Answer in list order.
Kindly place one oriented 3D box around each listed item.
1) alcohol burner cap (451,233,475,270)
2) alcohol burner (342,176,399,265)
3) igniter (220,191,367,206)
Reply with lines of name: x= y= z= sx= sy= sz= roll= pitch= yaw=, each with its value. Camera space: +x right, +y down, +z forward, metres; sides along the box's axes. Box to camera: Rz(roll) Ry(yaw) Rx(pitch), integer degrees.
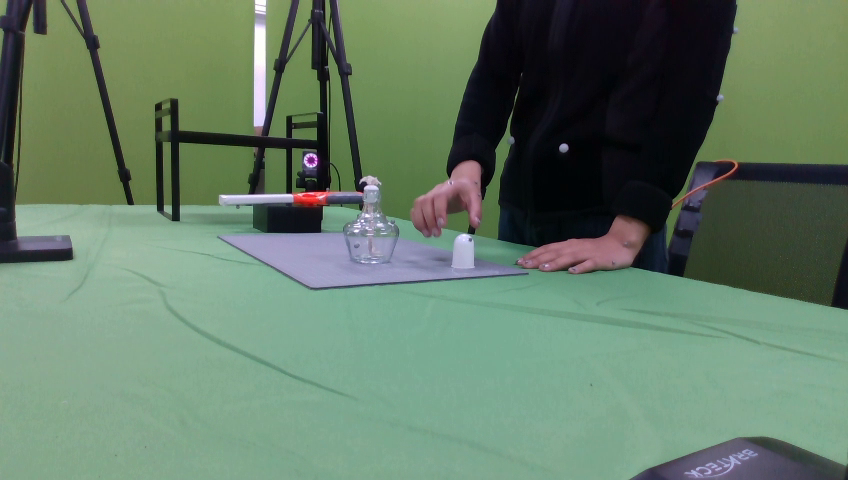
alcohol burner cap: x=0.053 y=0.015 z=0.809 sx=0.034 sy=0.048 sz=0.034 roll=5 pitch=9 yaw=0
alcohol burner: x=-0.073 y=-0.027 z=0.818 sx=0.078 sy=0.119 sz=0.078 roll=1 pitch=6 yaw=0
igniter: x=-0.242 y=-0.079 z=1.152 sx=0.278 sy=0.025 sz=0.057 roll=-3 pitch=12 yaw=-26
